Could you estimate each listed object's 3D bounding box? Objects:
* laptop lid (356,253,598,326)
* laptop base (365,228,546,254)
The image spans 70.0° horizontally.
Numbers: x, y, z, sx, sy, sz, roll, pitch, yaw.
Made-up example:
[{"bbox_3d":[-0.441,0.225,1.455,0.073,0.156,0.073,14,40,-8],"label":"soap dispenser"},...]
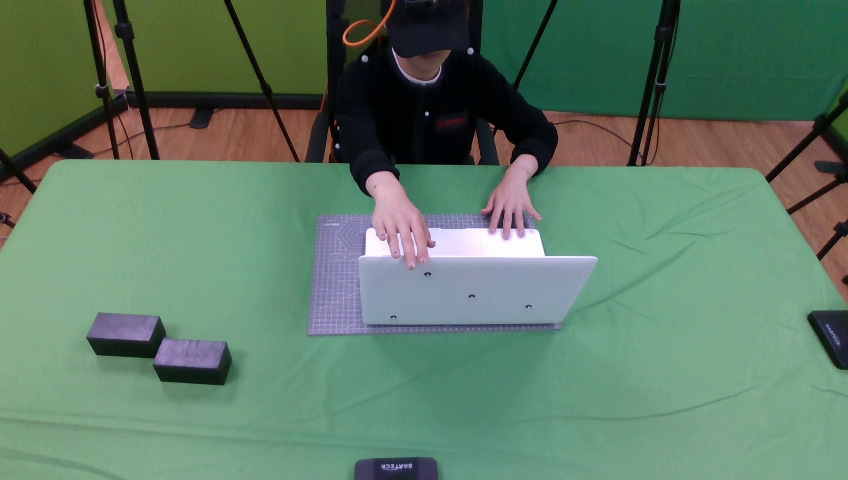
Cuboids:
[{"bbox_3d":[0.074,0.084,0.961,0.357,0.243,0.013,1,57,-5],"label":"laptop lid"},{"bbox_3d":[0.064,0.063,1.143,0.355,0.023,0.234,0,42,-4],"label":"laptop base"}]
